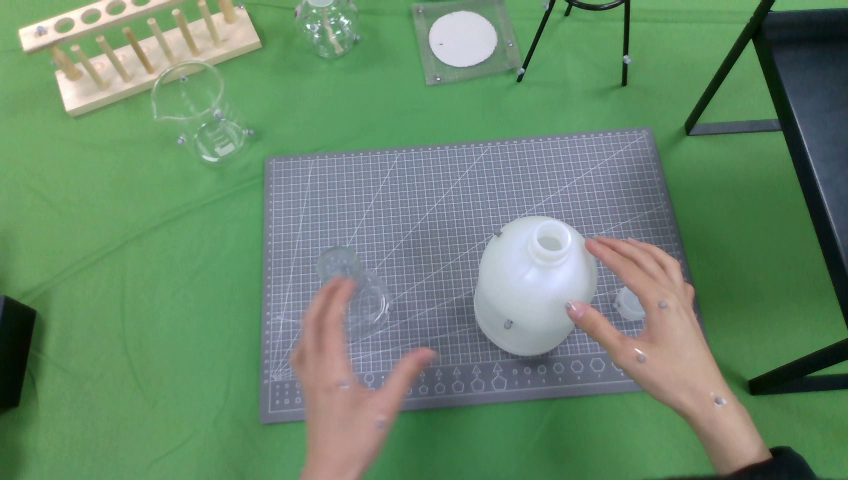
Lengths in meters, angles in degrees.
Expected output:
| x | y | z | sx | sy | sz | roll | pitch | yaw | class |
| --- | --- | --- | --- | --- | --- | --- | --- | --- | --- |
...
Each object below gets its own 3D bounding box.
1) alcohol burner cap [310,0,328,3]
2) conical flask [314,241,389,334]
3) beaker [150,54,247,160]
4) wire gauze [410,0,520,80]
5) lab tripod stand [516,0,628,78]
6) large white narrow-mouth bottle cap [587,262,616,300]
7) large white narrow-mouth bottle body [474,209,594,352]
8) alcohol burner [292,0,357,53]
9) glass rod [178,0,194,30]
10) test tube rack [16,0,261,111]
| x | y | z | sx | sy | sz | roll | pitch | yaw | class |
| --- | --- | --- | --- | --- | --- | --- | --- | --- | --- |
| -0.120 | -0.296 | 0.681 | 0.034 | 0.048 | 0.033 | 3 | 66 | -7 | alcohol burner cap |
| -0.075 | 0.040 | 0.575 | 0.075 | 0.123 | 0.075 | 0 | 67 | 1 | conical flask |
| -0.244 | -0.139 | 0.665 | 0.073 | 0.101 | 0.084 | 40 | 74 | 16 | beaker |
| 0.050 | -0.262 | 0.760 | 0.121 | 0.011 | 0.124 | -9 | 68 | -4 | wire gauze |
| 0.180 | -0.256 | 0.690 | 0.148 | 0.132 | 0.147 | 1 | 67 | -1 | lab tripod stand |
| 0.180 | 0.043 | 0.629 | 0.038 | 0.024 | 0.037 | -1 | 67 | 3 | large white narrow-mouth bottle cap |
| 0.097 | 0.031 | 0.539 | 0.102 | 0.196 | 0.101 | -1 | 66 | 3 | large white narrow-mouth bottle body |
| -0.119 | -0.280 | 0.714 | 0.078 | 0.120 | 0.077 | 0 | 66 | 0 | alcohol burner |
| -0.285 | -0.305 | 0.669 | 0.008 | 0.201 | 0.008 | 2 | 65 | -3 | glass rod |
| -0.329 | -0.244 | 0.716 | 0.242 | 0.086 | 0.066 | -23 | 69 | -9 | test tube rack |
